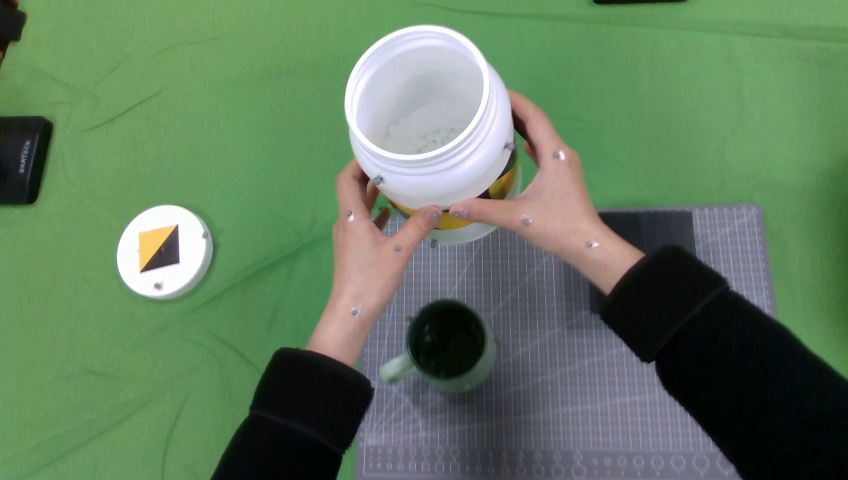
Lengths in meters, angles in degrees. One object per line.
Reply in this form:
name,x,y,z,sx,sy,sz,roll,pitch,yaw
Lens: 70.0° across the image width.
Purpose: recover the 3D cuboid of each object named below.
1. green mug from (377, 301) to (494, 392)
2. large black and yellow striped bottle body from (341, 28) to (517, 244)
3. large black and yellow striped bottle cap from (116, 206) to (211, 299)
green mug,0.011,0.116,0.623,0.125,0.105,0.092,-26,74,0
large black and yellow striped bottle body,0.010,-0.082,0.523,0.130,0.185,0.130,-3,73,11
large black and yellow striped bottle cap,-0.317,0.014,0.736,0.115,0.019,0.114,-2,74,7
